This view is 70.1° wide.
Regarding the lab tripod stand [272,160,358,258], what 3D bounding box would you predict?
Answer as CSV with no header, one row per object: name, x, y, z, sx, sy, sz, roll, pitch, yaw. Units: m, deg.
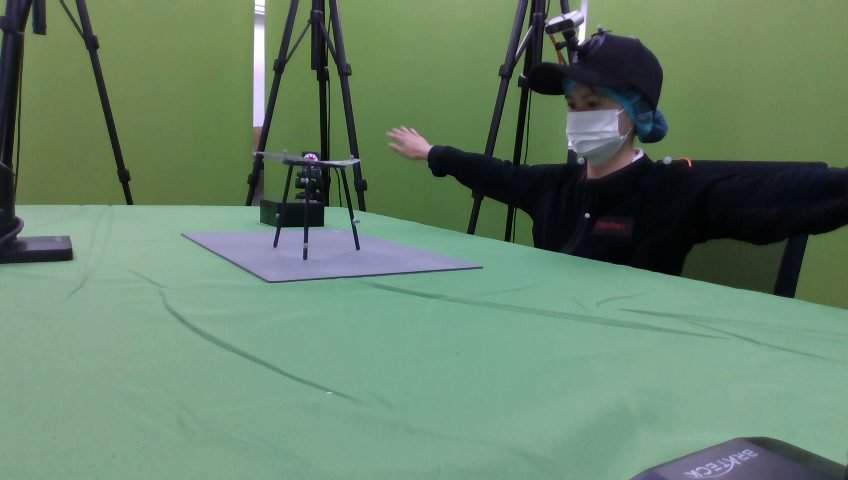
lab tripod stand,-0.159,-0.048,0.876,0.148,0.131,0.148,3,5,0

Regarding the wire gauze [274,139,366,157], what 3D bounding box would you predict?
wire gauze,-0.153,-0.130,0.869,0.122,0.011,0.124,-3,1,-15
